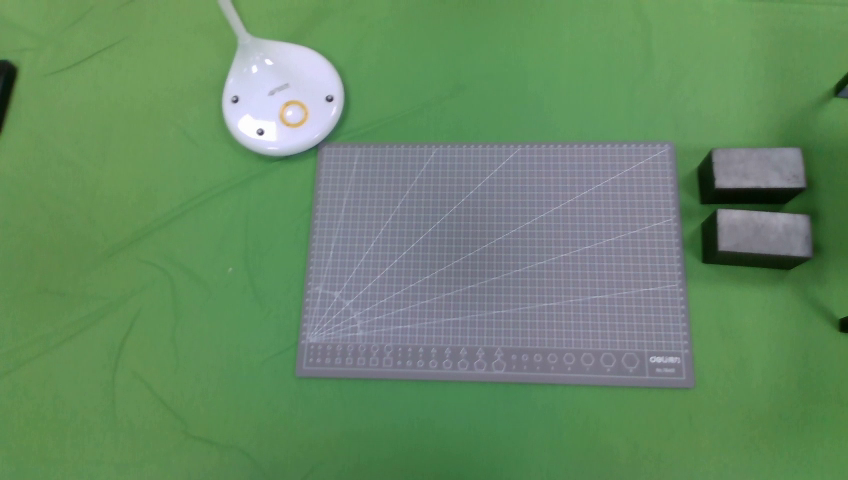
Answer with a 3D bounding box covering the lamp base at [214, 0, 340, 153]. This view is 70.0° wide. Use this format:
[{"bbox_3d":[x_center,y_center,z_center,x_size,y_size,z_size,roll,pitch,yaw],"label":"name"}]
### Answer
[{"bbox_3d":[-0.204,-0.219,0.730,0.160,0.181,0.178,-40,72,-8],"label":"lamp base"}]
